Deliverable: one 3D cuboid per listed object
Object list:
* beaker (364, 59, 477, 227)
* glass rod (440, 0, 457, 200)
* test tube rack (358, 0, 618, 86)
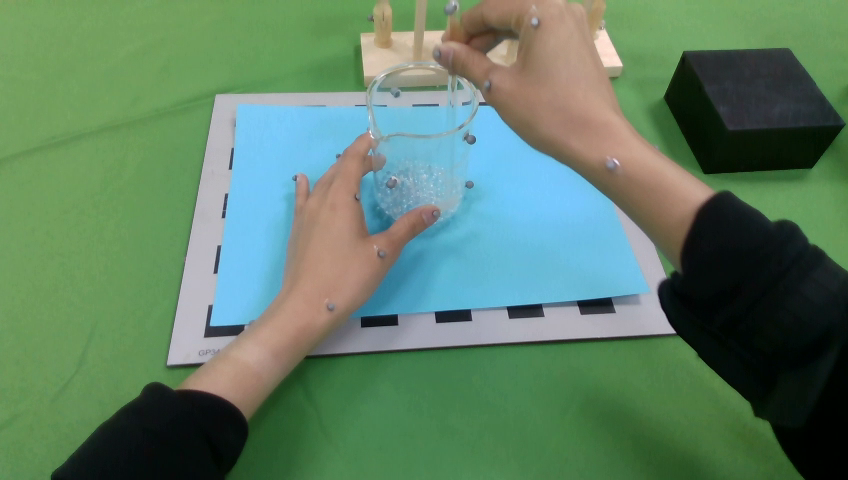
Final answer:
[{"bbox_3d":[-0.006,-0.063,0.431,0.073,0.101,0.084,36,59,22],"label":"beaker"},{"bbox_3d":[0.015,-0.100,0.388,0.008,0.201,0.008,0,47,0],"label":"glass rod"},{"bbox_3d":[0.061,-0.200,0.552,0.243,0.086,0.066,-4,53,-6],"label":"test tube rack"}]
